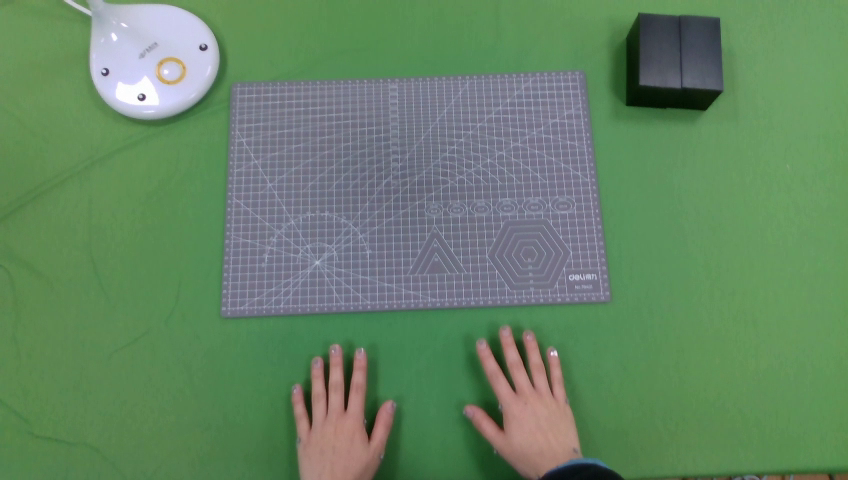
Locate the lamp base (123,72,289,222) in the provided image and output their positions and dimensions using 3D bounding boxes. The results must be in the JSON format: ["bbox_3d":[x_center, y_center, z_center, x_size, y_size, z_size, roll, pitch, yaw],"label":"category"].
[{"bbox_3d":[-0.276,-0.128,0.740,0.179,0.181,0.160,13,69,11],"label":"lamp base"}]

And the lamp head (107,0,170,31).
[{"bbox_3d":[-0.242,-0.241,0.471,0.124,0.112,0.112,25,67,-27],"label":"lamp head"}]

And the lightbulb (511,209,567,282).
[{"bbox_3d":[0.134,0.002,0.739,0.059,0.060,0.106,-19,53,-4],"label":"lightbulb"}]
